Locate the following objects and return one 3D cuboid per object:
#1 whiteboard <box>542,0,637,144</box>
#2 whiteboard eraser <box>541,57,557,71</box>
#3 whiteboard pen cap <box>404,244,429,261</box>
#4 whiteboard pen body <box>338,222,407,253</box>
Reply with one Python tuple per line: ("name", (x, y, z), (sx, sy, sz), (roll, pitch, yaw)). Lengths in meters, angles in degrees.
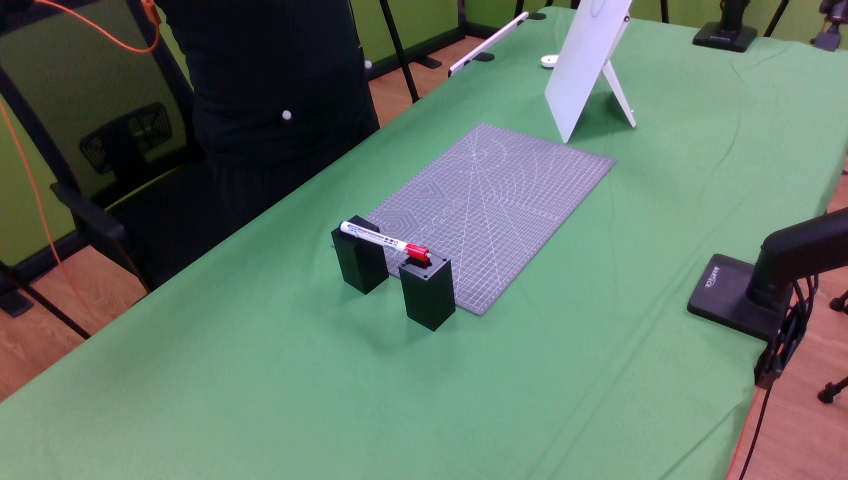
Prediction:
("whiteboard", (0.366, -0.351, 1.160), (0.144, 0.305, 0.216), (10, 39, -10))
("whiteboard eraser", (0.323, -0.412, 1.407), (0.101, 0.019, 0.041), (1, 42, 11))
("whiteboard pen cap", (-0.010, 0.015, 0.801), (0.032, 0.017, 0.017), (17, 46, 29))
("whiteboard pen body", (-0.061, -0.001, 0.828), (0.139, 0.017, 0.017), (18, 46, 28))
